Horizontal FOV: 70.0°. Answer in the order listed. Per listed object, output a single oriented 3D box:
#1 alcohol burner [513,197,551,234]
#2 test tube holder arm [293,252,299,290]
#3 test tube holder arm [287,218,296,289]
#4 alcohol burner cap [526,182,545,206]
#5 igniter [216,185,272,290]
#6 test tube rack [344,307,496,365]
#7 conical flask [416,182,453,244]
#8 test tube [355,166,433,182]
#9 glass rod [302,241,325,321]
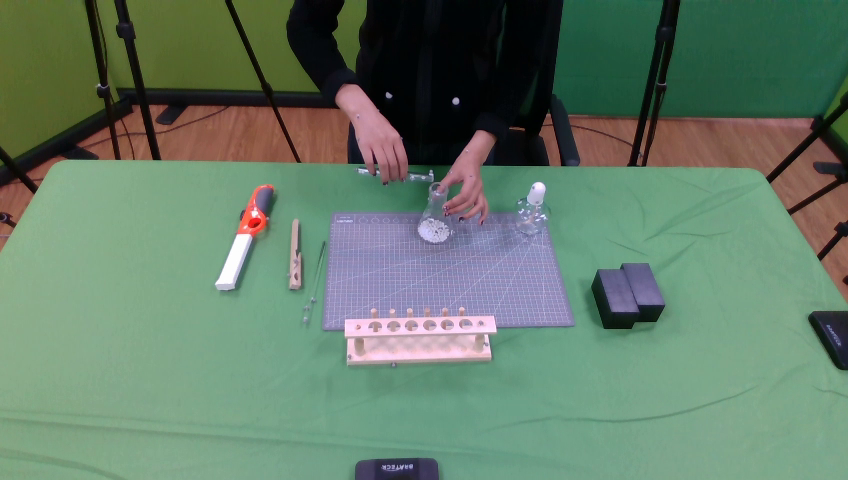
[{"bbox_3d":[0.220,-0.069,1.217,0.078,0.119,0.077,3,47,-3],"label":"alcohol burner"},{"bbox_3d":[-0.241,0.056,1.131,0.010,0.015,0.087,25,35,-33],"label":"test tube holder arm"},{"bbox_3d":[-0.253,0.022,1.158,0.013,0.015,0.177,24,36,-34],"label":"test tube holder arm"},{"bbox_3d":[0.222,-0.092,1.190,0.034,0.048,0.033,2,54,-3],"label":"alcohol burner cap"},{"bbox_3d":[-0.347,-0.014,1.182,0.057,0.025,0.275,-1,45,8],"label":"igniter"},{"bbox_3d":[-0.009,0.154,1.007,0.242,0.085,0.066,-1,46,-5],"label":"test tube rack"},{"bbox_3d":[0.023,-0.056,1.183,0.075,0.122,0.075,2,46,-2],"label":"conical flask"},{"bbox_3d":[-0.057,-0.123,1.133,0.150,0.017,0.017,7,46,8],"label":"test tube"},{"bbox_3d":[-0.204,0.071,1.123,0.008,0.008,0.198,4,44,0],"label":"glass rod"}]
